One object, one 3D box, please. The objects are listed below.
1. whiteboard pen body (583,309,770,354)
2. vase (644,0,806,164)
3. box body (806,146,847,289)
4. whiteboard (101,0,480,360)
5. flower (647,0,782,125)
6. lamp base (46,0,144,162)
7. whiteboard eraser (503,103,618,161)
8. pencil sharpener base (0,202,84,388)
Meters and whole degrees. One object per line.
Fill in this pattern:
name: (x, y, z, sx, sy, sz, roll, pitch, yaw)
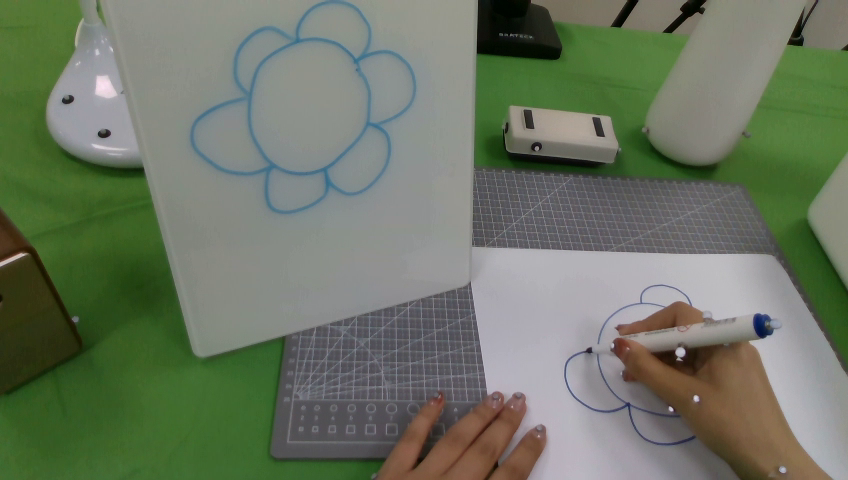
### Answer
whiteboard pen body: (0.164, 0.066, 0.415, 0.017, 0.140, 0.017, 12, 68, -33)
vase: (0.299, -0.173, 0.603, 0.098, 0.201, 0.097, 6, 47, -6)
box body: (0.509, 0.049, 0.465, 0.254, 0.161, 0.360, 4, 48, -6)
whiteboard: (-0.089, -0.103, 0.436, 0.218, 0.308, 0.142, -13, 32, -20)
flower: (0.320, -0.217, 0.535, 0.044, 0.363, 0.038, -18, 71, -33)
lamp base: (-0.269, -0.187, 0.526, 0.178, 0.182, 0.160, 33, 51, 22)
whiteboard eraser: (0.138, -0.109, 0.623, 0.113, 0.042, 0.055, 4, 45, -5)
pencil sharpener base: (-0.273, 0.029, 0.379, 0.076, 0.108, 0.061, 38, 53, 24)
